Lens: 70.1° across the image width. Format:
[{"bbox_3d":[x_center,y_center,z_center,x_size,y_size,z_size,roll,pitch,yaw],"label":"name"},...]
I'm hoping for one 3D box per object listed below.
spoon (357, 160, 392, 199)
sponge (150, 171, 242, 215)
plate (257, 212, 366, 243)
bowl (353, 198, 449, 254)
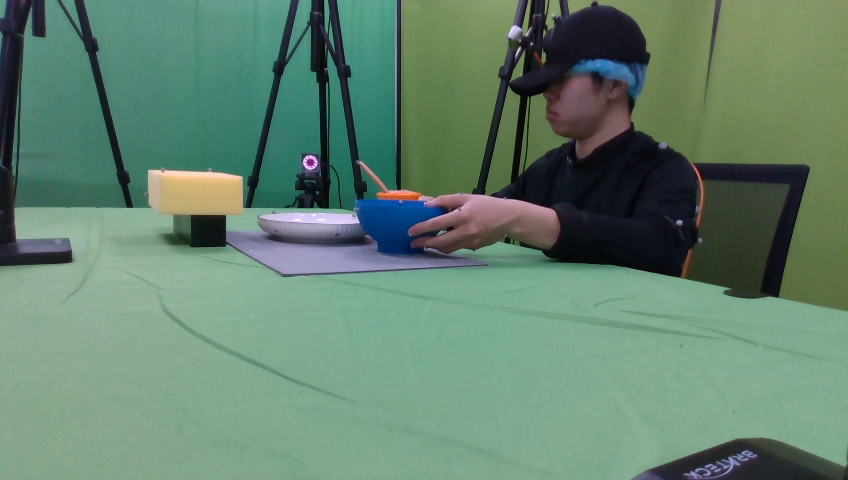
[{"bbox_3d":[-0.081,-0.098,1.240,0.042,0.021,0.193,-5,55,-53],"label":"spoon"},{"bbox_3d":[-0.379,-0.079,0.994,0.119,0.061,0.206,-1,8,-29],"label":"sponge"},{"bbox_3d":[-0.189,-0.023,1.072,0.209,0.038,0.209,3,7,0],"label":"plate"},{"bbox_3d":[-0.038,-0.021,0.952,0.151,0.077,0.151,3,8,0],"label":"bowl"}]
